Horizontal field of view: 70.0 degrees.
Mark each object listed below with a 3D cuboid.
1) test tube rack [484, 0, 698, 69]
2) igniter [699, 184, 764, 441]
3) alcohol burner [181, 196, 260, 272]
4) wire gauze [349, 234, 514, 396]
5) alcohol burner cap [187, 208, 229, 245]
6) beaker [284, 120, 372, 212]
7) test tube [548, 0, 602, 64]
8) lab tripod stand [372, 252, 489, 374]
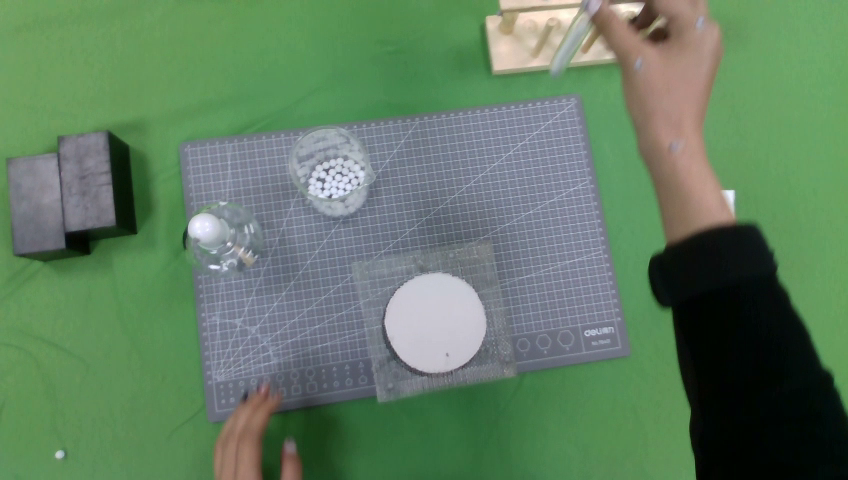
[{"bbox_3d":[0.195,-0.249,0.666,0.242,0.085,0.066,-7,82,-4],"label":"test tube rack"},{"bbox_3d":[0.335,0.076,0.661,0.057,0.025,0.275,-2,83,-14],"label":"igniter"},{"bbox_3d":[-0.203,-0.009,0.593,0.078,0.119,0.077,0,80,-2],"label":"alcohol burner"},{"bbox_3d":[0.007,0.062,0.518,0.125,0.011,0.121,-10,82,-5],"label":"wire gauze"},{"bbox_3d":[-0.200,-0.013,0.557,0.034,0.048,0.034,1,84,-7],"label":"alcohol burner cap"},{"bbox_3d":[-0.092,-0.069,0.615,0.084,0.100,0.074,16,82,-1],"label":"beaker"},{"bbox_3d":[0.122,-0.176,0.450,0.017,0.150,0.017,2,74,-7],"label":"test tube"},{"bbox_3d":[0.001,0.075,0.584,0.148,0.132,0.148,0,81,-1],"label":"lab tripod stand"}]
